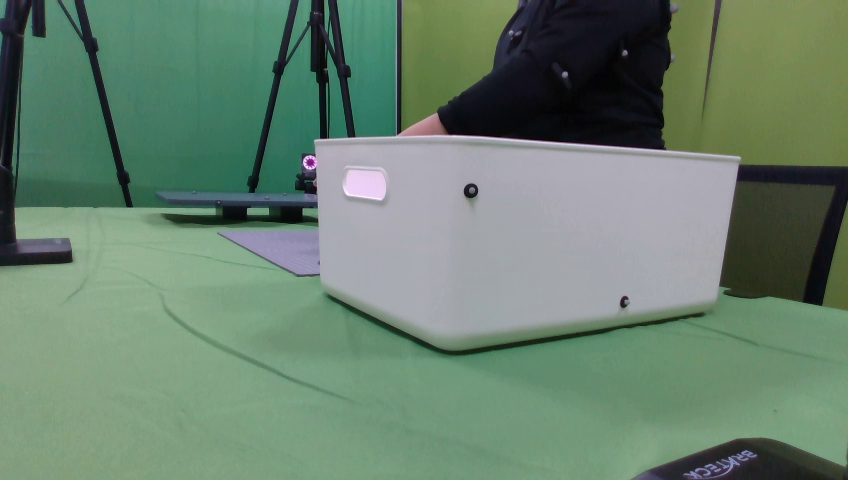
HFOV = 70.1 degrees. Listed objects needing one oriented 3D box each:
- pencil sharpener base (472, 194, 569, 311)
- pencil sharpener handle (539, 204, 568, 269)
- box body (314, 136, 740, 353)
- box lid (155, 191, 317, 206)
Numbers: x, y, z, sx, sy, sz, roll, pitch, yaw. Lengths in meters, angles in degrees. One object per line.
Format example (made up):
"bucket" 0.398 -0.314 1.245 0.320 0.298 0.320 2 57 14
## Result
"pencil sharpener base" 0.095 0.010 0.592 0.077 0.107 0.061 -1 7 -33
"pencil sharpener handle" 0.138 -0.003 0.621 0.031 0.067 0.036 -1 15 -33
"box body" 0.098 -0.012 0.605 0.366 0.160 0.253 -2 8 -33
"box lid" -0.387 -0.091 1.340 0.373 0.015 0.262 -1 8 -30
